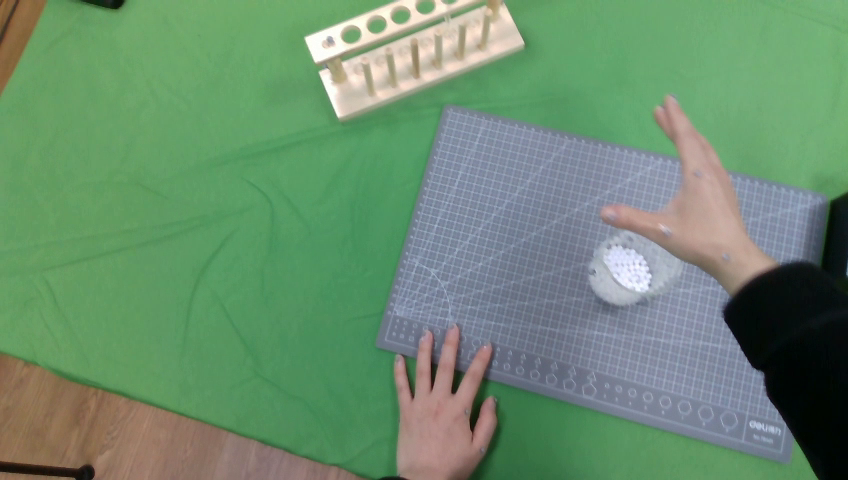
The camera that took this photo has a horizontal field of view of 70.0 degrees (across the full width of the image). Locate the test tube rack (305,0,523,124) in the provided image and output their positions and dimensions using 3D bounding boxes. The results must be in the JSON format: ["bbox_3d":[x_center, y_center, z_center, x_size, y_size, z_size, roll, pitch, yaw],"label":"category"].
[{"bbox_3d":[-0.005,-0.224,0.702,0.242,0.085,0.066,-22,76,-3],"label":"test tube rack"}]

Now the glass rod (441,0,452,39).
[{"bbox_3d":[0.020,-0.265,0.644,0.008,0.200,0.008,-1,80,7],"label":"glass rod"}]

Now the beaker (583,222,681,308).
[{"bbox_3d":[0.207,0.030,0.627,0.084,0.101,0.073,4,76,4],"label":"beaker"}]
